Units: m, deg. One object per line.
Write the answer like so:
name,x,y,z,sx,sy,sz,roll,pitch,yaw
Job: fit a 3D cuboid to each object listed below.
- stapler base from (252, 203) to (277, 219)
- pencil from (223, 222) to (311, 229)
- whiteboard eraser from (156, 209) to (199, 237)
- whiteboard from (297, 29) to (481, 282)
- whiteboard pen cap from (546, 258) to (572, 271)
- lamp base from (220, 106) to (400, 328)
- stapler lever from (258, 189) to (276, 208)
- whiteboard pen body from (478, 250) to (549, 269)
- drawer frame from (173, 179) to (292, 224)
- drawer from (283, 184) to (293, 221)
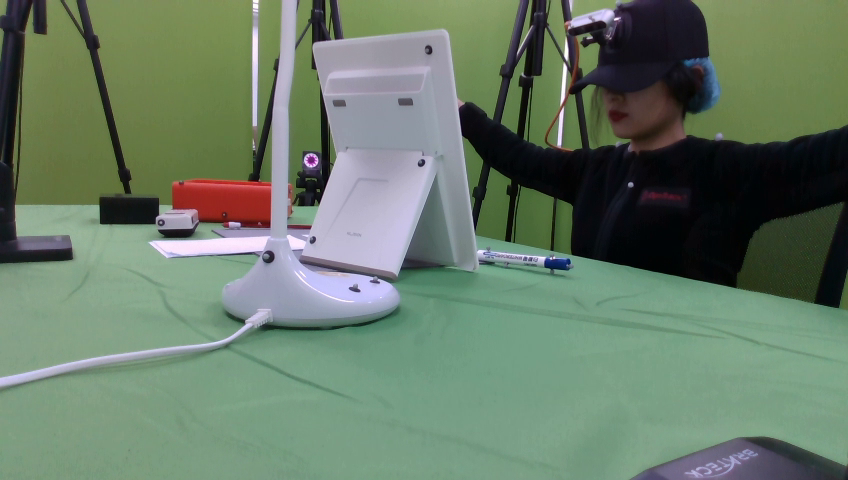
stapler base,-0.340,-0.065,1.301,0.041,0.024,0.130,15,5,-9
pencil,-0.274,-0.026,1.132,0.195,0.012,0.012,1,8,-25
whiteboard eraser,-0.411,-0.029,1.016,0.056,0.042,0.112,2,7,-16
whiteboard,-0.076,-0.082,0.741,0.216,0.305,0.144,9,29,37
whiteboard pen cap,0.176,0.032,0.790,0.033,0.018,0.018,3,6,38
lamp base,-0.101,-0.023,0.531,0.160,0.180,0.179,4,10,10
stapler lever,-0.335,-0.090,1.300,0.027,0.040,0.118,15,4,-9
whiteboard pen body,0.130,0.028,0.827,0.140,0.017,0.017,6,8,38
drawer frame,-0.400,-0.086,1.300,0.214,0.082,0.201,1,8,-8
drawer,-0.396,-0.084,1.301,0.212,0.073,0.194,1,8,-7
